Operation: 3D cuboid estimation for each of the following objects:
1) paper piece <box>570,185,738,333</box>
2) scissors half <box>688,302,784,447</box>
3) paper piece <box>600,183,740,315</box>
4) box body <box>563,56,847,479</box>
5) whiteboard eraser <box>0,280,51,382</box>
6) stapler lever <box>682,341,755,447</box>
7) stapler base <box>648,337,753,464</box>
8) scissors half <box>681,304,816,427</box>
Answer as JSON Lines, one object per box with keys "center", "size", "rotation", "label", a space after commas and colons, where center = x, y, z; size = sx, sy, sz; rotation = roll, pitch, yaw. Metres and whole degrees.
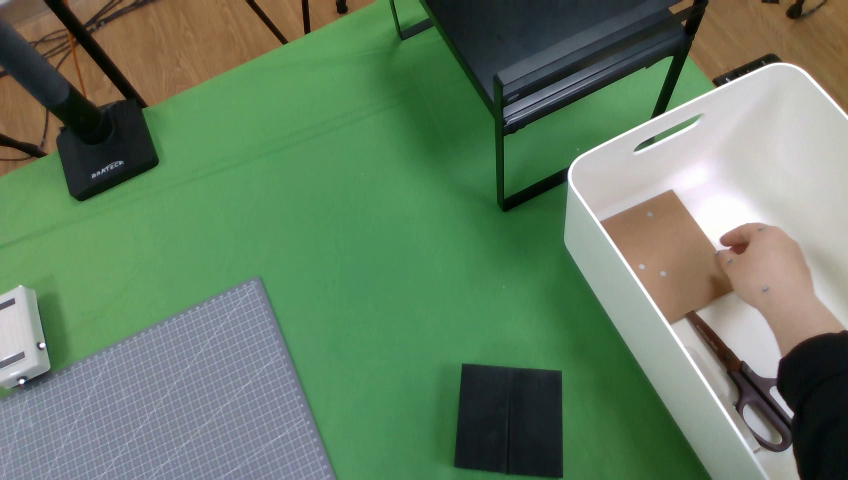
{"center": [0.257, 0.019, 0.693], "size": [0.136, 0.009, 0.137], "rotation": [-30, 59, 13], "label": "paper piece"}
{"center": [0.308, 0.128, 0.623], "size": [0.040, 0.013, 0.173], "rotation": [-19, 62, 0], "label": "scissors half"}
{"center": [0.253, 0.014, 0.673], "size": [0.135, 0.004, 0.134], "rotation": [-24, 67, -4], "label": "paper piece"}
{"center": [0.324, 0.045, 0.580], "size": [0.254, 0.161, 0.361], "rotation": [-26, 68, -4], "label": "box body"}
{"center": [-0.480, 0.107, 0.717], "size": [0.055, 0.042, 0.112], "rotation": [-27, 68, -3], "label": "whiteboard eraser"}
{"center": [0.277, 0.152, 0.588], "size": [0.027, 0.040, 0.117], "rotation": [-30, 73, 0], "label": "stapler lever"}
{"center": [0.279, 0.159, 0.612], "size": [0.041, 0.024, 0.129], "rotation": [-30, 73, 0], "label": "stapler base"}
{"center": [0.327, 0.118, 0.626], "size": [0.040, 0.013, 0.173], "rotation": [-37, 65, -14], "label": "scissors half"}
